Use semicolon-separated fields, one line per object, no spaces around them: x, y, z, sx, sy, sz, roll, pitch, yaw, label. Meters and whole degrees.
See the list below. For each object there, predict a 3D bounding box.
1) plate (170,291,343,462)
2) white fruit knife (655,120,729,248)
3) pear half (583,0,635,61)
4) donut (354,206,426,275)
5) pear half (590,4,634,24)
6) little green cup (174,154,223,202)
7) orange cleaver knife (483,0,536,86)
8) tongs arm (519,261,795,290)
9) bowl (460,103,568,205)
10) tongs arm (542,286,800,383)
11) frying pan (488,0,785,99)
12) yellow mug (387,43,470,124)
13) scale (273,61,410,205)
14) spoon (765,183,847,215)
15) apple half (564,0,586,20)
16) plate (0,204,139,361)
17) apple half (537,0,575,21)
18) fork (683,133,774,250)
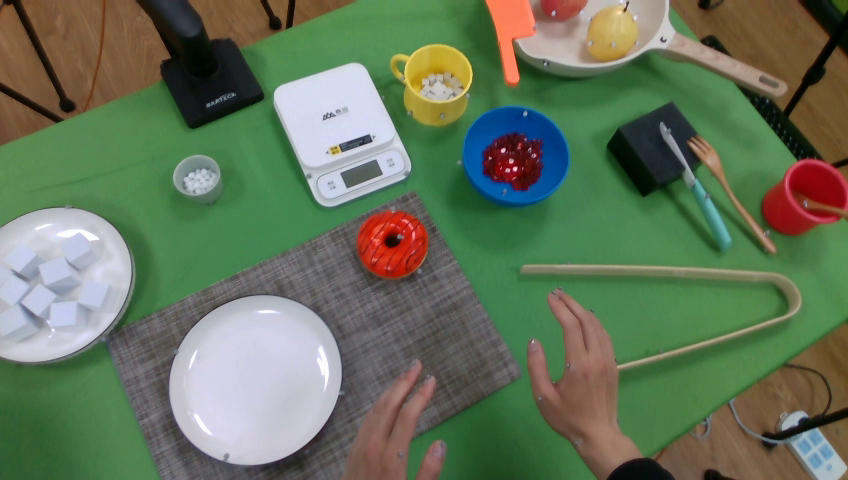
-0.205;0.167;0.755;0.209;0.038;0.207;1;71;-4;plate
0.384;-0.082;0.873;0.016;0.027;0.207;-29;90;-13;white fruit knife
0.287;-0.319;0.929;0.076;0.110;0.055;8;70;3;pear half
-0.046;0.001;0.825;0.099;0.048;0.098;1;72;-3;donut
0.294;-0.348;0.950;0.070;0.088;0.031;7;71;1;pear half
-0.311;-0.084;0.841;0.061;0.039;0.061;1;70;-3;little green cup
0.127;-0.326;0.908;0.077;0.012;0.210;-9;72;-7;orange cleaver knife
0.325;0.046;0.848;0.388;0.028;0.028;3;63;-4;tongs arm
0.121;-0.110;0.863;0.151;0.077;0.150;2;71;-4;bowl
0.337;0.125;0.818;0.385;0.027;0.050;-11;68;-9;tongs arm
0.319;-0.333;0.944;0.485;0.103;0.306;31;72;15;frying pan
0.002;-0.240;0.907;0.130;0.064;0.099;28;71;7;yellow mug
-0.122;-0.160;0.886;0.149;0.032;0.199;-23;74;-11;scale
0.566;-0.043;0.839;0.041;0.022;0.192;-32;31;-15;spoon
0.231;-0.402;0.973;0.053;0.075;0.080;-36;73;-19;apple half
-0.472;0.054;0.779;0.208;0.039;0.206;2;70;-4;plate
0.201;-0.380;0.962;0.033;0.081;0.081;-35;76;-19;apple half
0.446;-0.069;0.882;0.028;0.018;0.207;-36;92;-18;fork
